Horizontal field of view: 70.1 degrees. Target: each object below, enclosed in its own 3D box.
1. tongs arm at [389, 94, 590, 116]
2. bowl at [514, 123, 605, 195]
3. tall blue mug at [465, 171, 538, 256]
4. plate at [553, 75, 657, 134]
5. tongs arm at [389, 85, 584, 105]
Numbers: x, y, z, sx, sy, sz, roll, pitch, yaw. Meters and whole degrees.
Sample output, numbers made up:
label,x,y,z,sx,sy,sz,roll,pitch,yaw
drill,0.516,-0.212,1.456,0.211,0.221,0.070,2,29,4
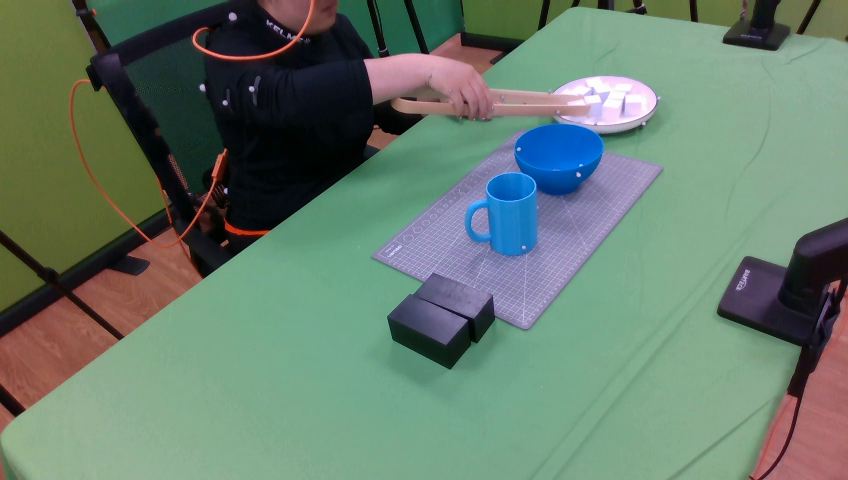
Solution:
label,x,y,z,sx,sy,sz,roll,pitch,yaw
tongs arm,0.129,-0.250,1.132,0.389,0.028,0.028,-1,49,-12
bowl,0.232,-0.131,1.046,0.151,0.077,0.150,-5,40,5
tall blue mug,0.125,-0.033,0.925,0.107,0.108,0.077,-32,46,-25
plate,0.357,-0.269,1.220,0.209,0.038,0.208,-5,40,5
tongs arm,0.125,-0.266,1.148,0.386,0.026,0.050,2,45,-9
